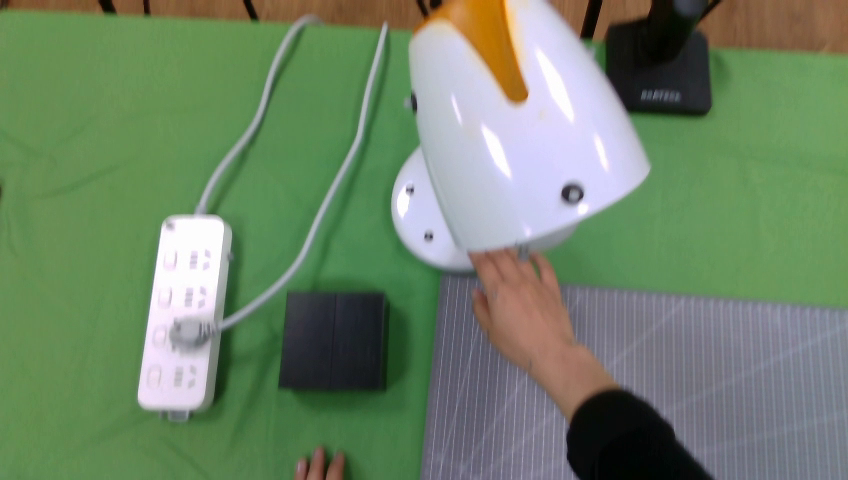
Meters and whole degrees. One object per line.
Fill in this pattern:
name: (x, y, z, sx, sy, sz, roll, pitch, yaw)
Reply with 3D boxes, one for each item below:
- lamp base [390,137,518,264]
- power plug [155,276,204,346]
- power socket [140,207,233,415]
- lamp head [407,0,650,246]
lamp base: (0.032, -0.083, 0.612, 0.161, 0.181, 0.178, -23, 71, -4)
power plug: (-0.252, 0.074, 0.630, 0.035, 0.053, 0.072, -12, 67, -18)
power socket: (-0.253, 0.072, 0.654, 0.072, 0.033, 0.225, 1, 73, 1)
lamp head: (0.043, -0.073, 0.318, 0.112, 0.112, 0.123, -26, 98, -5)
